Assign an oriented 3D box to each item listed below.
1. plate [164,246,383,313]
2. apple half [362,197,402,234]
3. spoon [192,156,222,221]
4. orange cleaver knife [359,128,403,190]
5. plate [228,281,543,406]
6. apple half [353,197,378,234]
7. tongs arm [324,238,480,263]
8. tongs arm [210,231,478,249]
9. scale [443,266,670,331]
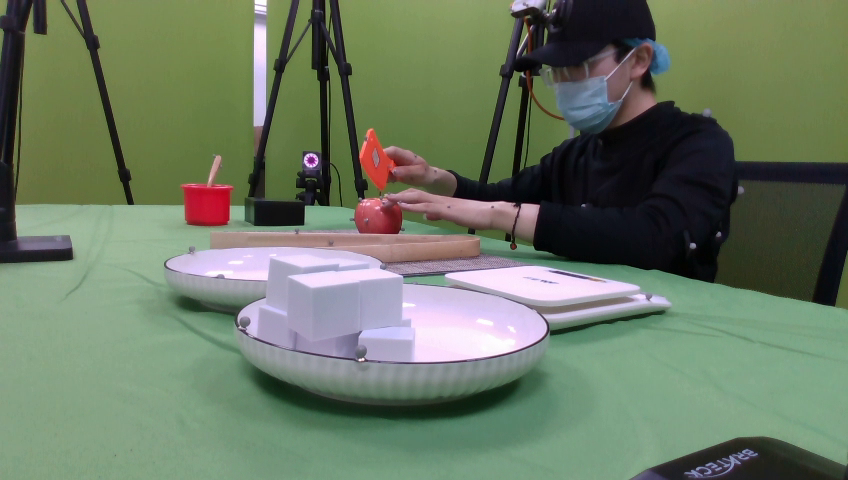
[{"bbox_3d":[-0.145,0.038,0.600,0.209,0.038,0.209,2,7,0],"label":"plate"},{"bbox_3d":[-0.064,-0.033,1.013,0.053,0.074,0.081,8,6,18],"label":"apple half"},{"bbox_3d":[-0.430,-0.108,1.222,0.041,0.021,0.193,-1,52,0],"label":"spoon"},{"bbox_3d":[-0.074,-0.128,1.063,0.012,0.077,0.212,6,-11,15],"label":"orange cleaver knife"},{"bbox_3d":[-0.025,0.067,0.413,0.208,0.039,0.207,3,7,0],"label":"plate"},{"bbox_3d":[-0.101,-0.037,1.023,0.032,0.081,0.081,9,9,17],"label":"apple half"},{"bbox_3d":[-0.070,0.017,0.801,0.390,0.028,0.028,-2,5,-34],"label":"tongs arm"},{"bbox_3d":[-0.106,0.004,0.876,0.386,0.026,0.050,0,7,-20],"label":"tongs arm"},{"bbox_3d":[0.131,0.052,0.603,0.202,0.031,0.148,-2,9,-37],"label":"scale"}]
